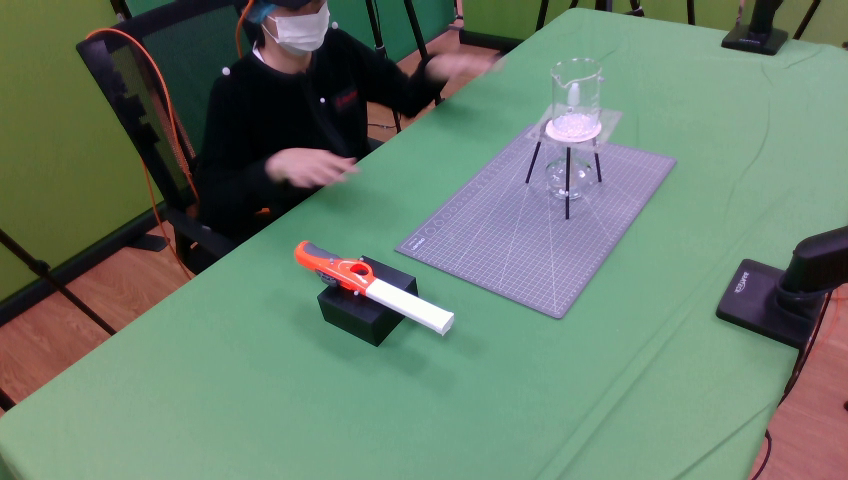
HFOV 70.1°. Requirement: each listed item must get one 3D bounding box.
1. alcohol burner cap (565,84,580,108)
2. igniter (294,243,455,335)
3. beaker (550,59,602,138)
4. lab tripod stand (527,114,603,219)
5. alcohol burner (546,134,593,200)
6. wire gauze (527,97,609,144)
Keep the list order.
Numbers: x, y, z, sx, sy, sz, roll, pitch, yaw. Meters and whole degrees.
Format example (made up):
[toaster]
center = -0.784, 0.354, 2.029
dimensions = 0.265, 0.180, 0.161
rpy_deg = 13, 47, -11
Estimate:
[alcohol burner cap]
center = 0.315, -0.307, 1.278
dimensions = 0.034, 0.048, 0.033
rpy_deg = -4, 42, 5
[igniter]
center = -0.079, 0.062, 0.837
dimensions = 0.274, 0.025, 0.057
rpy_deg = 22, 49, 27
[beaker]
center = 0.230, -0.212, 0.922
dimensions = 0.073, 0.101, 0.084
rpy_deg = 16, 46, 31
[lab tripod stand]
center = 0.234, -0.129, 1.002
dimensions = 0.148, 0.132, 0.147
rpy_deg = -6, 40, 6
[alcohol burner]
center = 0.243, -0.126, 1.011
dimensions = 0.078, 0.119, 0.077
rpy_deg = -5, 42, 5
[wire gauze]
center = 0.225, -0.187, 0.945
dimensions = 0.121, 0.011, 0.124
rpy_deg = 4, 45, 12
